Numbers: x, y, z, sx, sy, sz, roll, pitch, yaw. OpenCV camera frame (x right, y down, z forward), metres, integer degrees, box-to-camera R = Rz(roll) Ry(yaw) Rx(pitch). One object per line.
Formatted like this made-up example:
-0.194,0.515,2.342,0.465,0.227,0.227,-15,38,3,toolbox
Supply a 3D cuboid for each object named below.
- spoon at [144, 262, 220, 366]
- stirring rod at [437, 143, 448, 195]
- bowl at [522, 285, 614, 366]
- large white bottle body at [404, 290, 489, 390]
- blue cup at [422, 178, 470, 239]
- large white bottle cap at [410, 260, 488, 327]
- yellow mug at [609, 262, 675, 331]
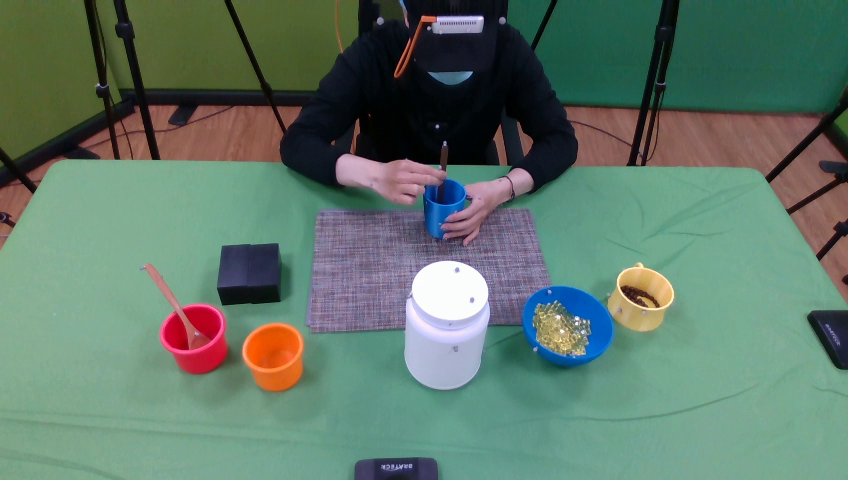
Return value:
-0.389,0.118,0.971,0.041,0.021,0.194,-34,101,-33,spoon
0.033,-0.112,1.168,0.014,0.177,0.006,-23,50,-26,stirring rod
0.235,0.158,1.022,0.151,0.077,0.150,2,46,-2,bowl
0.034,0.136,0.955,0.131,0.185,0.130,2,46,-2,large white bottle body
0.037,-0.058,1.194,0.093,0.101,0.092,2,44,-2,blue cup
0.037,0.077,0.893,0.115,0.018,0.114,2,47,-2,large white bottle cap
0.393,0.094,1.103,0.100,0.064,0.130,7,45,4,yellow mug
